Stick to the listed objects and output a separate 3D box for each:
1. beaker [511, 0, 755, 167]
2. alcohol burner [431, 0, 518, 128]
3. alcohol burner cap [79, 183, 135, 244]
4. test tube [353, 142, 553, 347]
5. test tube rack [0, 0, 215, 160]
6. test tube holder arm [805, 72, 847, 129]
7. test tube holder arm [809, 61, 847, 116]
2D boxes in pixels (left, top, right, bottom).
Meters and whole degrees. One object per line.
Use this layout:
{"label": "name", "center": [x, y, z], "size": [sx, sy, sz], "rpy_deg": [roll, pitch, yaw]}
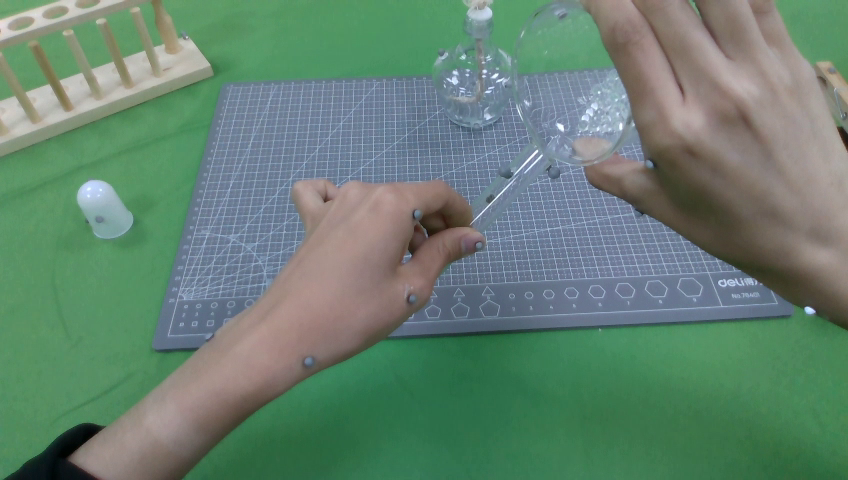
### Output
{"label": "beaker", "center": [0.103, -0.085, 0.298], "size": [0.100, 0.084, 0.073], "rpy_deg": [-25, 63, -27]}
{"label": "alcohol burner", "center": [0.045, -0.157, 0.528], "size": [0.078, 0.120, 0.077], "rpy_deg": [0, 52, 0]}
{"label": "alcohol burner cap", "center": [-0.254, -0.024, 0.479], "size": [0.034, 0.048, 0.033], "rpy_deg": [0, 51, 1]}
{"label": "test tube", "center": [0.012, 0.006, 0.328], "size": [0.150, 0.017, 0.017], "rpy_deg": [-47, 54, 16]}
{"label": "test tube rack", "center": [-0.332, -0.158, 0.560], "size": [0.242, 0.086, 0.066], "rpy_deg": [-28, 56, -20]}
{"label": "test tube holder arm", "center": [0.336, -0.076, 0.455], "size": [0.015, 0.013, 0.176], "rpy_deg": [1, 48, -6]}
{"label": "test tube holder arm", "center": [0.334, -0.113, 0.480], "size": [0.015, 0.010, 0.087], "rpy_deg": [1, 49, -6]}
